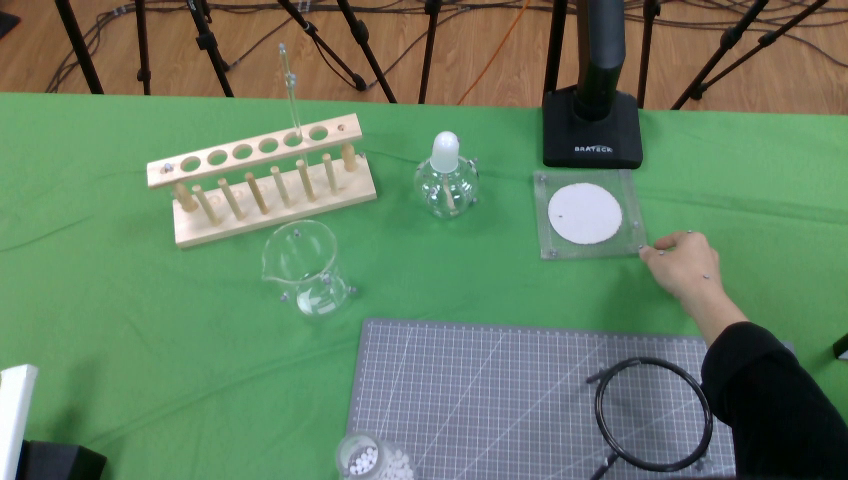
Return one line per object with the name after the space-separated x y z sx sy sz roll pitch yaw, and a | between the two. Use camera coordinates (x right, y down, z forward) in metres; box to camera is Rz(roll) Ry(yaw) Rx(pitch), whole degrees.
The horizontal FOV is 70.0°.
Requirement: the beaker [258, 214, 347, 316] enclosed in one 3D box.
-0.126 0.033 0.643 0.084 0.101 0.073 -35 63 -15 | beaker

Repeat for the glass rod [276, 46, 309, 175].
-0.143 -0.134 0.672 0.008 0.201 0.008 1 58 -1 | glass rod

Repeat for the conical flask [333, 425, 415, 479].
-0.049 0.194 0.528 0.075 0.123 0.074 -2 59 3 | conical flask

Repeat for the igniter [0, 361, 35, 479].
-0.381 0.239 0.525 0.057 0.025 0.274 -14 59 8 | igniter

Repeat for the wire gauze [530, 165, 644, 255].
0.191 -0.040 0.719 0.121 0.011 0.124 -1 60 2 | wire gauze

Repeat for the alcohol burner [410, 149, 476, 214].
0.022 -0.084 0.694 0.078 0.120 0.077 -1 58 2 | alcohol burner

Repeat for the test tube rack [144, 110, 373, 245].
-0.190 -0.073 0.717 0.242 0.086 0.066 -15 60 -5 | test tube rack

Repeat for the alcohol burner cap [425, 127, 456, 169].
0.020 -0.104 0.664 0.034 0.048 0.033 3 60 -5 | alcohol burner cap

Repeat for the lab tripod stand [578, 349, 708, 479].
0.183 0.160 0.527 0.148 0.132 0.147 -1 58 1 | lab tripod stand
